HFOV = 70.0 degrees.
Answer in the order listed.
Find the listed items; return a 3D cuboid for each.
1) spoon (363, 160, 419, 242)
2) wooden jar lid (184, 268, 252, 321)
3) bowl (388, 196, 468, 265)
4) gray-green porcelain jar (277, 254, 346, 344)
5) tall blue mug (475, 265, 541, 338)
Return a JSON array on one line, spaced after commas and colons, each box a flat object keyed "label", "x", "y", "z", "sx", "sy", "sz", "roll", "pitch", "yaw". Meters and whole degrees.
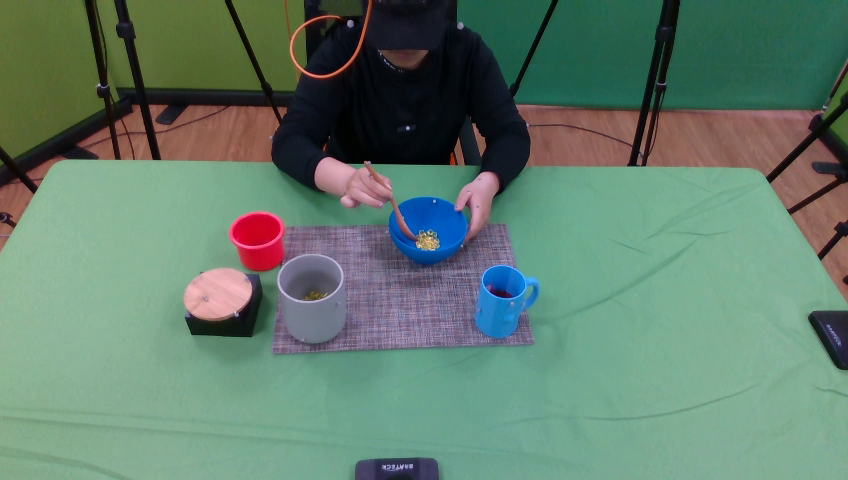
[{"label": "spoon", "x": -0.060, "y": -0.068, "z": 1.101, "sx": 0.021, "sy": 0.195, "sz": 0.041, "roll": -37, "pitch": 31, "yaw": -15}, {"label": "wooden jar lid", "x": -0.343, "y": 0.092, "z": 1.015, "sx": 0.108, "sy": 0.021, "sz": 0.107, "roll": 3, "pitch": 46, "yaw": -3}, {"label": "bowl", "x": 0.006, "y": -0.006, "z": 1.161, "sx": 0.151, "sy": 0.077, "sz": 0.150, "roll": 2, "pitch": 46, "yaw": -2}, {"label": "gray-green porcelain jar", "x": -0.184, "y": 0.102, "z": 1.008, "sx": 0.106, "sy": 0.127, "sz": 0.105, "roll": 2, "pitch": 46, "yaw": -2}, {"label": "tall blue mug", "x": 0.142, "y": 0.099, "z": 1.047, "sx": 0.077, "sy": 0.108, "sz": 0.107, "roll": 33, "pitch": 53, "yaw": 27}]
